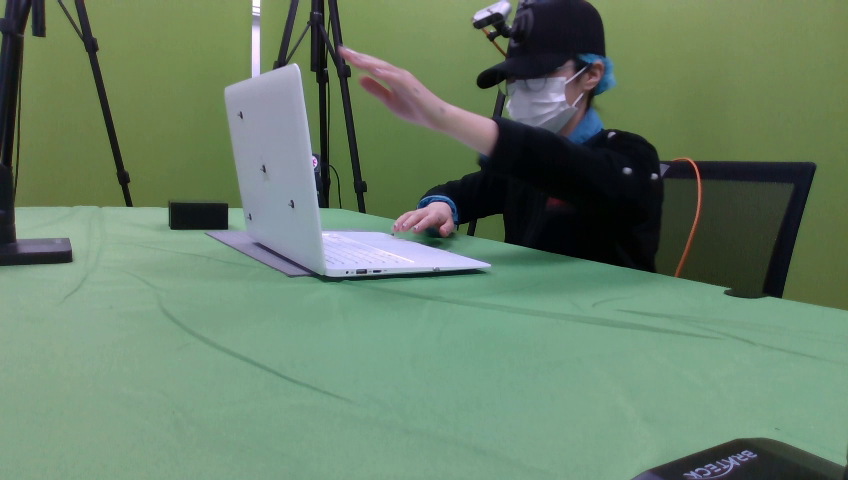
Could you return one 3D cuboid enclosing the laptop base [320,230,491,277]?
[{"bbox_3d":[-0.095,0.016,0.889,0.237,0.023,0.352,1,7,-30],"label":"laptop base"}]

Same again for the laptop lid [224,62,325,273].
[{"bbox_3d":[-0.211,-0.097,0.804,0.013,0.241,0.355,-12,15,-28],"label":"laptop lid"}]
